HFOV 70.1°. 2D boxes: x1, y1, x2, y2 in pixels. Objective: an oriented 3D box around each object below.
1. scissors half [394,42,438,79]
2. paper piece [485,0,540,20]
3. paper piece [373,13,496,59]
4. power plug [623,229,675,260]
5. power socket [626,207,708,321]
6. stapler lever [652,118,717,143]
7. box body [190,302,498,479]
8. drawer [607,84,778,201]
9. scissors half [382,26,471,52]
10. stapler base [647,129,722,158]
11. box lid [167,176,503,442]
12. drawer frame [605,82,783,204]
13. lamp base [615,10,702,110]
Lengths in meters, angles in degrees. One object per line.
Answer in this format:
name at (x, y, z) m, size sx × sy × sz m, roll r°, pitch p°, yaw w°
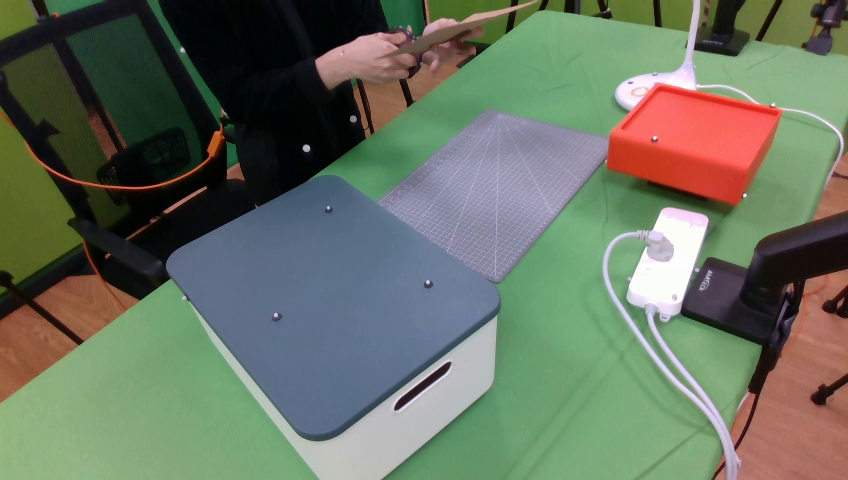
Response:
scissors half at (0.010, -0.303, 0.966) m, size 0.174 × 0.040 × 0.013 m, roll -24°, pitch 15°, yaw 49°
paper piece at (0.096, -0.350, 0.957) m, size 0.137 × 0.009 × 0.136 m, roll 0°, pitch 25°, yaw 43°
paper piece at (0.014, -0.292, 0.871) m, size 0.135 × 0.004 × 0.136 m, roll -8°, pitch 16°, yaw 47°
power plug at (0.327, 0.007, 0.878) m, size 0.072 × 0.053 × 0.035 m, roll 25°, pitch 51°, yaw 33°
power socket at (0.360, 0.026, 0.886) m, size 0.072 × 0.033 × 0.227 m, roll 16°, pitch 46°, yaw 26°
stapler lever at (0.436, -0.192, 1.014) m, size 0.118 × 0.040 × 0.026 m, roll -16°, pitch 25°, yaw -16°
box body at (-0.110, 0.103, 0.761) m, size 0.255 × 0.161 × 0.361 m, roll -33°, pitch 46°, yaw -27°
drawer at (0.438, -0.167, 0.995) m, size 0.210 × 0.073 × 0.195 m, roll 23°, pitch 48°, yaw 30°
scissors half at (0.001, -0.322, 0.958) m, size 0.174 × 0.040 × 0.013 m, roll 9°, pitch 43°, yaw 35°
stapler base at (0.439, -0.167, 1.023) m, size 0.131 × 0.024 × 0.041 m, roll -16°, pitch 25°, yaw -15°
box lid at (-0.119, 0.047, 0.714) m, size 0.264 × 0.015 × 0.368 m, roll -32°, pitch 47°, yaw -27°
drawer frame at (0.441, -0.167, 0.995) m, size 0.212 × 0.083 × 0.202 m, roll 23°, pitch 48°, yaw 30°
lamp base at (0.484, -0.364, 1.211) m, size 0.180 × 0.181 × 0.159 m, roll -15°, pitch 41°, yaw -14°
